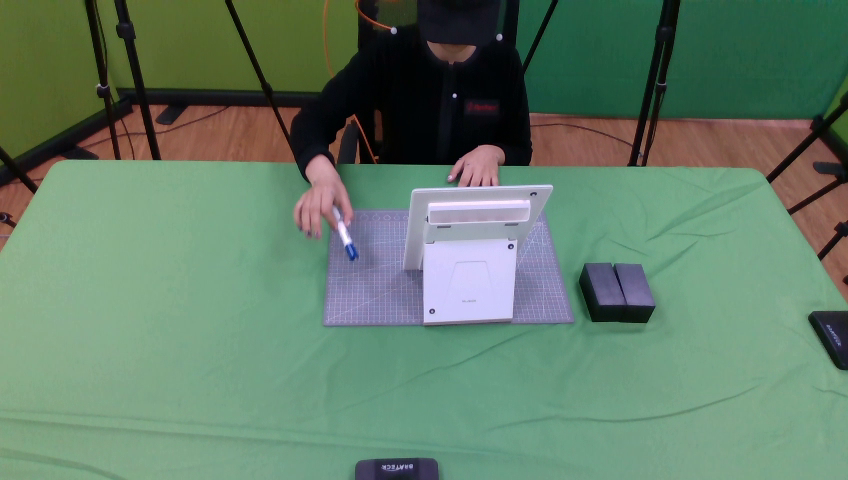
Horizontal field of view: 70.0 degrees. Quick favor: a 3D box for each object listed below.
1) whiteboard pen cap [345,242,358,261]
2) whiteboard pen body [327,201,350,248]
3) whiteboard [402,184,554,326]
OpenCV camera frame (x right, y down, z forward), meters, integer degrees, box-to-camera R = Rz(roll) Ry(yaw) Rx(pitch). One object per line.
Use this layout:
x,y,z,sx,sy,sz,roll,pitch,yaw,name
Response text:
-0.130,0.020,1.084,0.018,0.018,0.033,-15,52,-17,whiteboard pen cap
-0.154,-0.022,1.117,0.017,0.017,0.140,-14,51,-16,whiteboard pen body
0.081,0.044,1.005,0.217,0.306,0.143,-1,65,-6,whiteboard
